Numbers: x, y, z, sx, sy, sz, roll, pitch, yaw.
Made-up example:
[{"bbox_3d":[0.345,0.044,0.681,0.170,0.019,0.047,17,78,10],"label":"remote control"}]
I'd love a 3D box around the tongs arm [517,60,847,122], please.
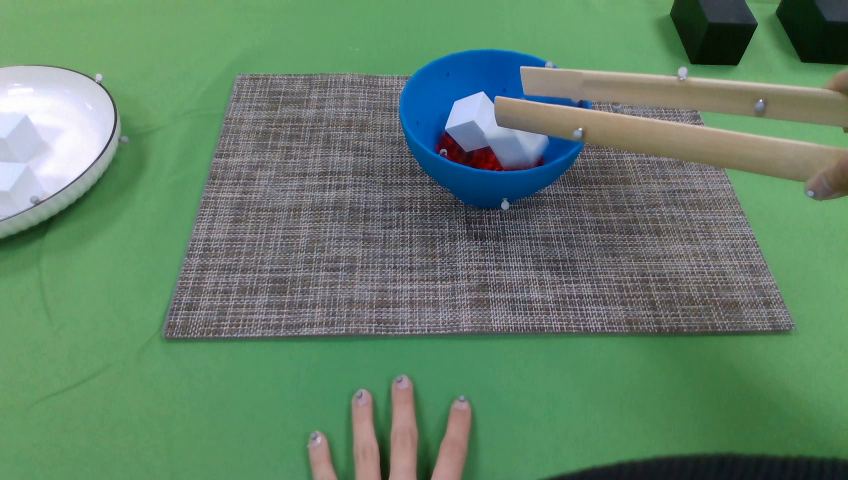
[{"bbox_3d":[0.227,-0.074,0.361,0.382,0.027,0.050,13,49,28],"label":"tongs arm"}]

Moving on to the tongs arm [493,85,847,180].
[{"bbox_3d":[0.213,-0.057,0.347,0.384,0.028,0.028,16,47,30],"label":"tongs arm"}]

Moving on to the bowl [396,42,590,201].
[{"bbox_3d":[0.053,-0.085,0.495,0.151,0.077,0.150,1,52,-1],"label":"bowl"}]

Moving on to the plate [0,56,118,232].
[{"bbox_3d":[-0.363,-0.076,0.506,0.209,0.038,0.207,1,52,-1],"label":"plate"}]
